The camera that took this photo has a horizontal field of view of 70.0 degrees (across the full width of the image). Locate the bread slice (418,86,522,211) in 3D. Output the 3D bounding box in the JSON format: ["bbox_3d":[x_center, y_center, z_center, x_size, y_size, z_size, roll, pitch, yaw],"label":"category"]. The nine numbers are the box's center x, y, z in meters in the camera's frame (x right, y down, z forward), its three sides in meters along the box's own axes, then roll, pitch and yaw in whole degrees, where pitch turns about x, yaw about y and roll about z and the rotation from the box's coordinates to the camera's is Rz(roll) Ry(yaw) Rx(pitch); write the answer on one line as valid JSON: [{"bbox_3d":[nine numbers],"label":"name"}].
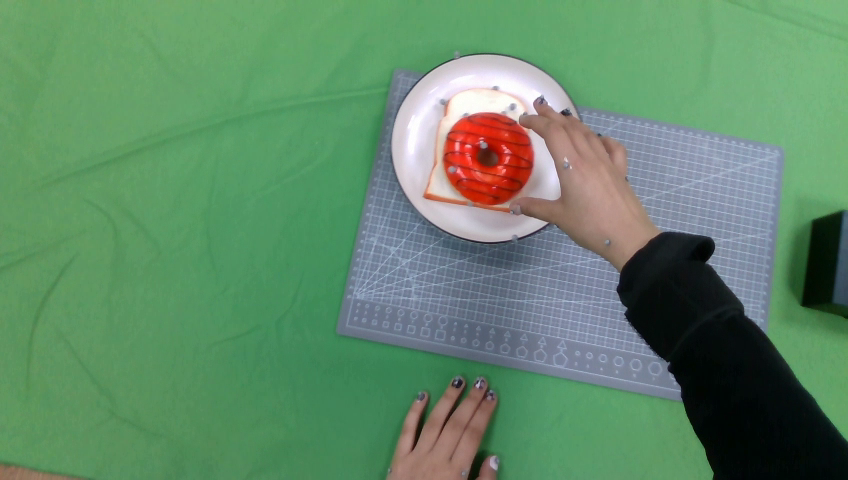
[{"bbox_3d":[0.054,-0.102,0.651,0.105,0.019,0.131,8,80,-3],"label":"bread slice"}]

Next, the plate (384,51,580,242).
[{"bbox_3d":[0.061,-0.097,0.650,0.209,0.038,0.208,1,81,-3],"label":"plate"}]

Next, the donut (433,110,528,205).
[{"bbox_3d":[0.058,-0.085,0.620,0.099,0.048,0.099,1,84,-5],"label":"donut"}]
